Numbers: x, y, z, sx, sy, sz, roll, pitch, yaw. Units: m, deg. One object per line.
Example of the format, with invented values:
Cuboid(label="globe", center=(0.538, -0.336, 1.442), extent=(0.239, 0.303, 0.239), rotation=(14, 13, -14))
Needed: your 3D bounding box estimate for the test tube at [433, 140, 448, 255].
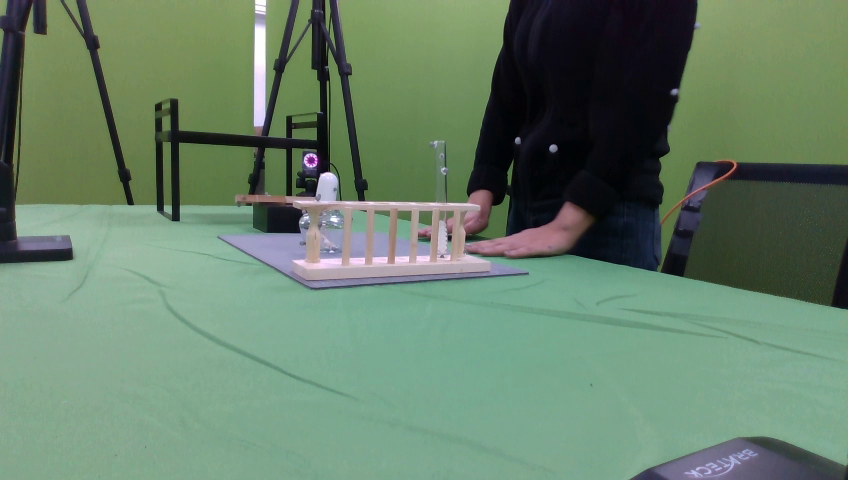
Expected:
Cuboid(label="test tube", center=(0.022, -0.054, 0.785), extent=(0.017, 0.150, 0.017), rotation=(-1, 9, 1))

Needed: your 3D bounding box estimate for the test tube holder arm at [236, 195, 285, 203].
Cuboid(label="test tube holder arm", center=(-0.304, -0.076, 1.125), extent=(0.088, 0.015, 0.010), rotation=(-1, 2, -29))

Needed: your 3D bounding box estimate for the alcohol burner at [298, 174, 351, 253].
Cuboid(label="alcohol burner", center=(-0.146, -0.040, 0.894), extent=(0.078, 0.119, 0.078), rotation=(5, 7, 0))

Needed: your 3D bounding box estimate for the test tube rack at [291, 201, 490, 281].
Cuboid(label="test tube rack", center=(-0.035, -0.002, 0.745), extent=(0.243, 0.085, 0.066), rotation=(-1, 8, -28))

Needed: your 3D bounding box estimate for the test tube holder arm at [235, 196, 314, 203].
Cuboid(label="test tube holder arm", center=(-0.267, -0.076, 1.152), extent=(0.179, 0.015, 0.013), rotation=(-1, 2, -30))

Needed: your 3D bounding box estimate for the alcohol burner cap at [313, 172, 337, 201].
Cuboid(label="alcohol burner cap", center=(-0.144, -0.076, 0.888), extent=(0.034, 0.048, 0.034), rotation=(8, 6, -1))
